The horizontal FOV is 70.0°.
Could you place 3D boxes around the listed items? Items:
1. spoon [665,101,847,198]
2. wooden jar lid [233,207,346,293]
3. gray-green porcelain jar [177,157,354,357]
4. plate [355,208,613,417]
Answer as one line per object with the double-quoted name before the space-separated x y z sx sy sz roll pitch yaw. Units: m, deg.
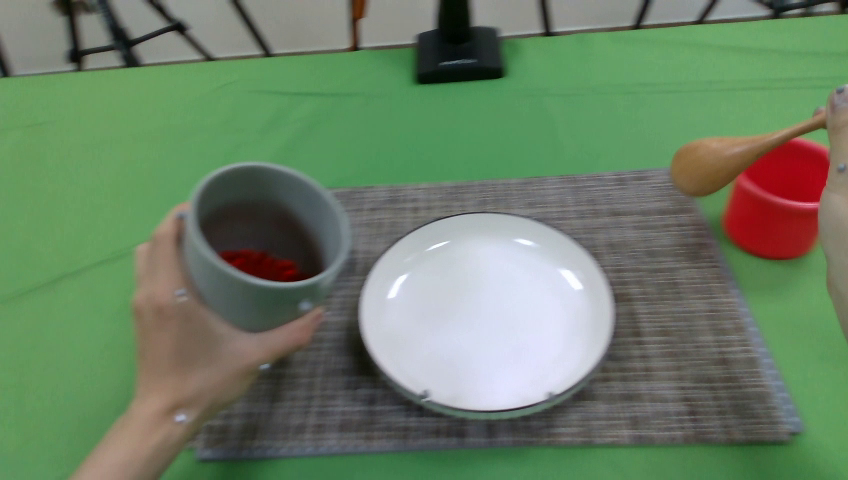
"spoon" 0.241 -0.072 0.384 0.022 0.193 0.041 -12 82 -46
"wooden jar lid" -0.128 0.010 0.586 0.108 0.021 0.107 -3 45 3
"gray-green porcelain jar" -0.122 0.020 0.446 0.106 0.127 0.105 16 49 -19
"plate" 0.049 0.057 0.507 0.207 0.039 0.205 -3 46 4
